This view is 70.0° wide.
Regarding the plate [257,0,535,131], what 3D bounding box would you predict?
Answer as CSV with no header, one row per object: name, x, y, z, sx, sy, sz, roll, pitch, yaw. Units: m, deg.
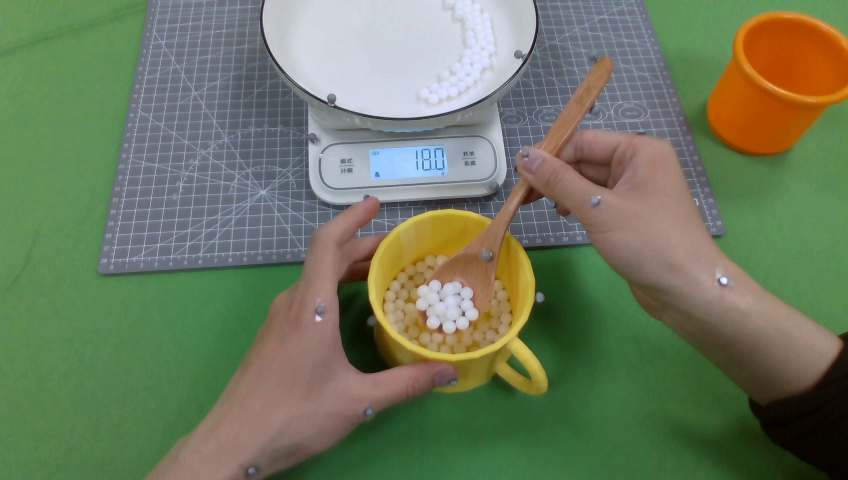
plate,-0.020,-0.164,0.469,0.209,0.038,0.207,1,62,-2

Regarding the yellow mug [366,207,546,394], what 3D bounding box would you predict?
yellow mug,0.026,0.047,0.380,0.100,0.064,0.130,-41,71,-20

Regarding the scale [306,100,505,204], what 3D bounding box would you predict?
scale,-0.019,-0.123,0.484,0.149,0.032,0.199,-4,63,-3

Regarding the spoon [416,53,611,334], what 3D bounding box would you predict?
spoon,0.057,-0.028,0.361,0.041,0.022,0.194,35,97,21
